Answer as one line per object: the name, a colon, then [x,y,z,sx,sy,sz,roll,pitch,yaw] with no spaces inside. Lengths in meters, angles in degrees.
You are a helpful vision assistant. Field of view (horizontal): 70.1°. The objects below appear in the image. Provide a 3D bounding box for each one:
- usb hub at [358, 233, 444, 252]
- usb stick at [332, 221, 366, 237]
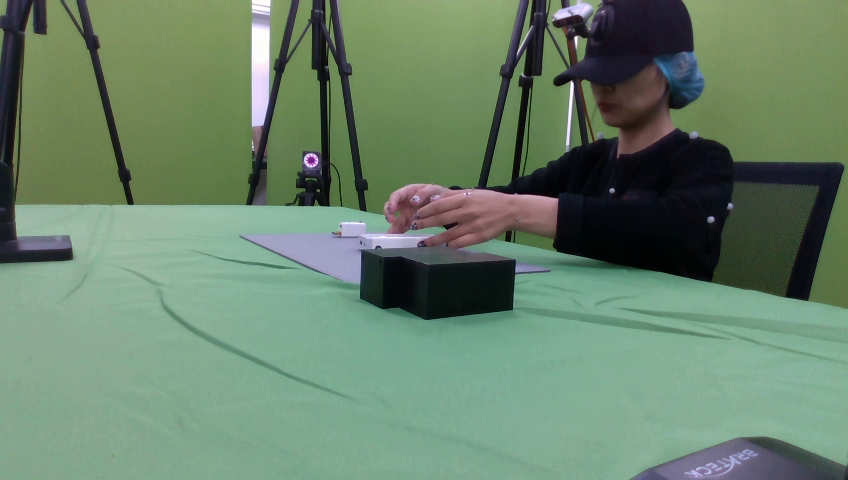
usb hub: [-0.035,0.003,0.927,0.126,0.025,0.049,-1,8,-23]
usb stick: [-0.134,-0.020,1.070,0.059,0.027,0.021,-4,10,-26]
